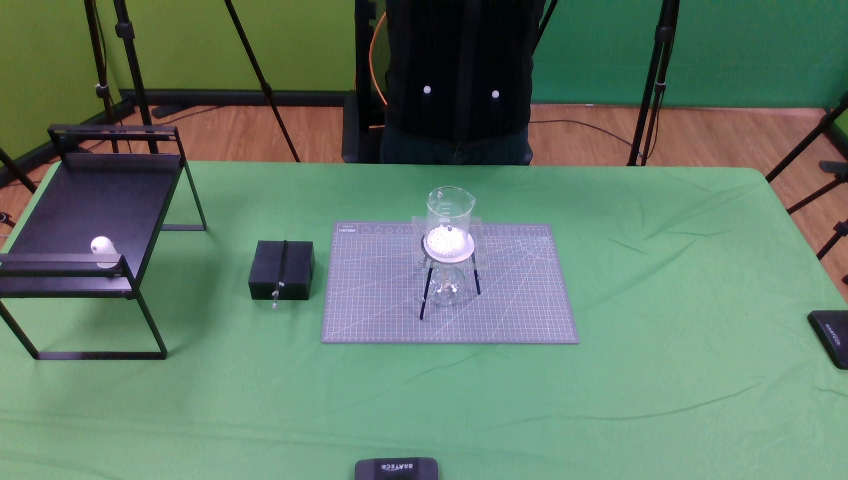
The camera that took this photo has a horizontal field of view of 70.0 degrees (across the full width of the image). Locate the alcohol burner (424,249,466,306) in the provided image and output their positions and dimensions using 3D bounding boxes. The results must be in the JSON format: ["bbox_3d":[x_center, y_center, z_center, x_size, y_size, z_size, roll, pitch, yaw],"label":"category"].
[{"bbox_3d":[0.038,0.061,1.075,0.078,0.120,0.077,2,44,-1],"label":"alcohol burner"}]

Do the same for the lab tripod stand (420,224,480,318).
[{"bbox_3d":[0.034,0.051,1.070,0.148,0.132,0.147,3,48,-3],"label":"lab tripod stand"}]

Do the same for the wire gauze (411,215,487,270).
[{"bbox_3d":[0.041,0.003,1.026,0.125,0.011,0.120,0,46,-1],"label":"wire gauze"}]

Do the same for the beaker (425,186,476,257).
[{"bbox_3d":[0.041,-0.028,0.989,0.084,0.101,0.073,-12,48,-15],"label":"beaker"}]

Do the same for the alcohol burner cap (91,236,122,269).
[{"bbox_3d":[-0.465,0.015,0.883,0.034,0.048,0.033,1,47,-1],"label":"alcohol burner cap"}]

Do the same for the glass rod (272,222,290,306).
[{"bbox_3d":[-0.255,0.039,1.084,0.008,0.008,0.198,1,46,-3],"label":"glass rod"}]
